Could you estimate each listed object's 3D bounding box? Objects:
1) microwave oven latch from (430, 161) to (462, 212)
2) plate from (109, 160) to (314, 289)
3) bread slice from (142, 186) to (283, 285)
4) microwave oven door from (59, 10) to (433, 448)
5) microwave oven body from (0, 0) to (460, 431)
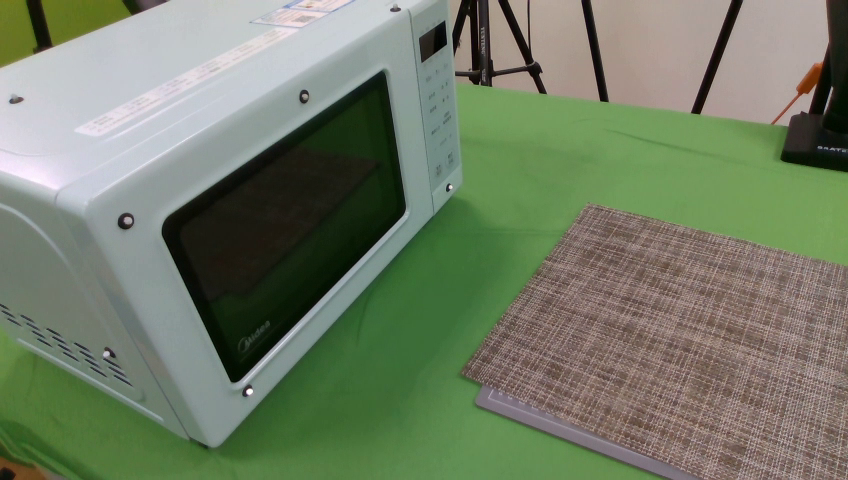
[{"bbox_3d":[0.019,-0.067,0.739,0.030,0.030,0.079,17,44,27],"label":"microwave oven latch"},{"bbox_3d":[-0.215,-0.016,0.635,0.209,0.038,0.207,-5,37,4],"label":"plate"},{"bbox_3d":[-0.218,-0.014,0.640,0.104,0.019,0.131,24,51,33],"label":"bread slice"},{"bbox_3d":[-0.105,-0.026,0.534,0.039,0.246,0.354,15,42,27],"label":"microwave oven door"},{"bbox_3d":[-0.208,-0.079,0.631,0.324,0.262,0.440,16,43,27],"label":"microwave oven body"}]
